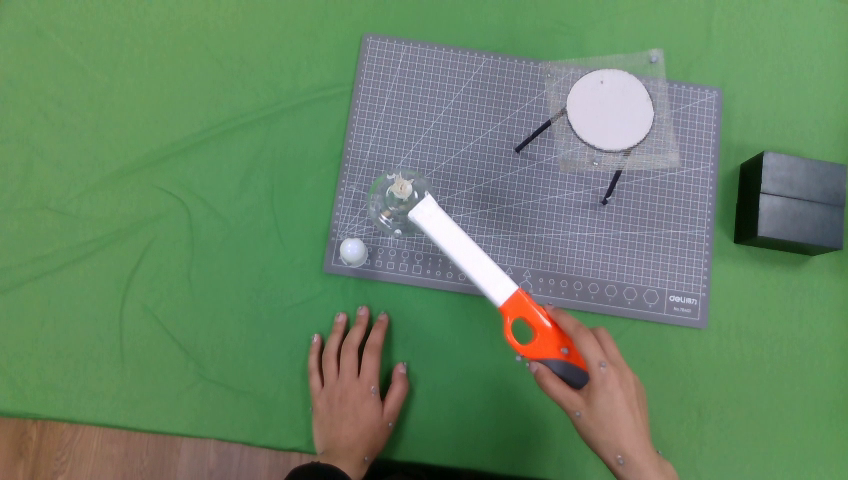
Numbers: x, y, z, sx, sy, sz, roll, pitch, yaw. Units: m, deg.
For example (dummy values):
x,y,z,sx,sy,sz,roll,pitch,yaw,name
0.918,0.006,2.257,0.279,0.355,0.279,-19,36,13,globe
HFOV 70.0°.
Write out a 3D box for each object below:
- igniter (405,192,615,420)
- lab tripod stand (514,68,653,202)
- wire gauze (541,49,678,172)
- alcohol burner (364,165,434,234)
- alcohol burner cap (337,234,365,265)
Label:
x,y,z,sx,sy,sz,roll,pitch,yaw,name
0.086,0.064,0.589,0.057,0.025,0.276,-43,88,-11,igniter
0.183,-0.123,0.667,0.148,0.132,0.147,0,79,-2,lab tripod stand
0.184,-0.128,0.600,0.125,0.011,0.121,-4,81,-3,wire gauze
-0.026,-0.047,0.655,0.078,0.119,0.077,0,82,-3,alcohol burner
-0.083,0.009,0.679,0.034,0.048,0.033,0,81,-3,alcohol burner cap
